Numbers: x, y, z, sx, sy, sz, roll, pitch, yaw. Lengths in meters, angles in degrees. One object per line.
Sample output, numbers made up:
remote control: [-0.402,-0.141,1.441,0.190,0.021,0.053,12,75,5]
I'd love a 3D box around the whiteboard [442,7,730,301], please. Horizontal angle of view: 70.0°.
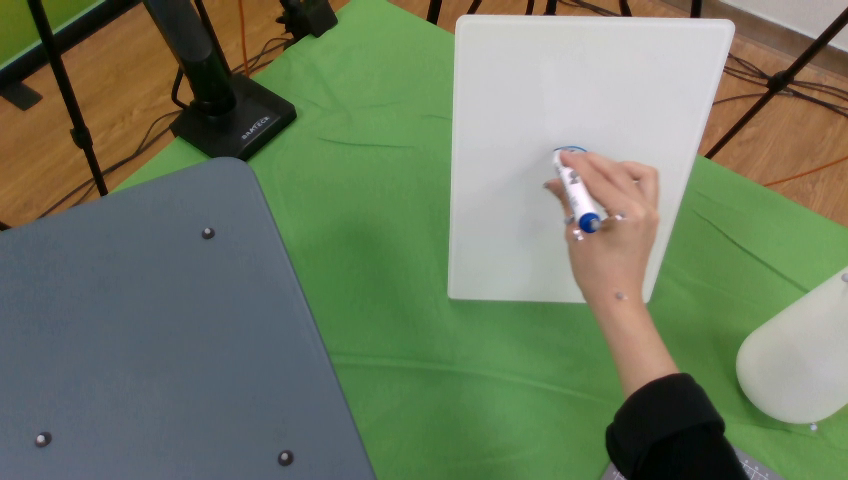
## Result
whiteboard: [0.132,-0.099,0.610,0.217,0.308,0.142,2,40,2]

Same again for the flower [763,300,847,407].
flower: [0.349,0.025,0.464,0.044,0.364,0.038,26,45,19]

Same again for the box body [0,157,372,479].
box body: [-0.209,0.140,0.515,0.254,0.162,0.360,-22,61,-12]

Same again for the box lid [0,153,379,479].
box lid: [-0.211,0.099,0.452,0.263,0.015,0.367,-22,61,-13]

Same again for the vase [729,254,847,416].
vase: [0.348,0.081,0.527,0.098,0.201,0.097,0,57,1]

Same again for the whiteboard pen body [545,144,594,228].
whiteboard pen body: [0.110,-0.048,0.477,0.017,0.017,0.139,-1,31,0]
